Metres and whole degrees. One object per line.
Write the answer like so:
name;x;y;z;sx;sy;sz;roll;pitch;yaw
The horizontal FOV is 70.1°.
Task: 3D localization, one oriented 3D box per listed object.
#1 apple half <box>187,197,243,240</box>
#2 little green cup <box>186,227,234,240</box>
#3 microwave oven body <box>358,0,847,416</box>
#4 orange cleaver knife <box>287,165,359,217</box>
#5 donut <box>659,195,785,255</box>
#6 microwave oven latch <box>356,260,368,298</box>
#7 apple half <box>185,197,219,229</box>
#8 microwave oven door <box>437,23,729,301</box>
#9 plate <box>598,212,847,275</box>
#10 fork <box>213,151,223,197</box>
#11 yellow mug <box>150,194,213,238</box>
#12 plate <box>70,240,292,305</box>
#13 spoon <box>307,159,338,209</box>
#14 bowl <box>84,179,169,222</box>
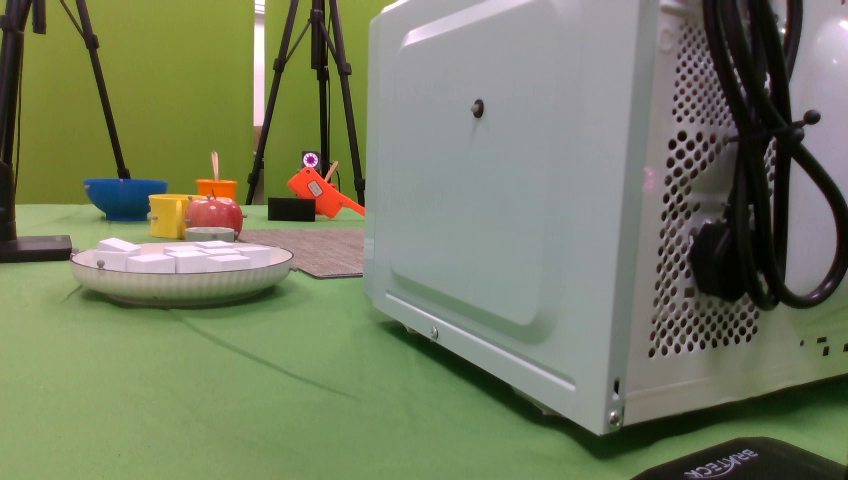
apple half;-0.305;-0.026;0.907;0.053;0.074;0.081;12;8;31
little green cup;-0.285;0.005;0.805;0.061;0.038;0.061;3;8;0
microwave oven body;0.211;-0.047;0.475;0.444;0.260;0.324;-1;8;-28
orange cleaver knife;-0.211;-0.092;1.382;0.212;0.077;0.012;34;1;-15
donut;0.252;-0.012;0.517;0.099;0.048;0.099;3;8;0
microwave oven latch;-0.020;0.033;0.530;0.079;0.029;0.030;0;7;-26
apple half;-0.338;-0.031;0.927;0.032;0.081;0.081;12;12;31
microwave oven door;0.181;-0.072;0.621;0.358;0.243;0.039;-2;8;-29
plate;0.255;0.000;0.518;0.209;0.038;0.209;2;6;0
fork;-0.493;-0.143;1.442;0.028;0.018;0.206;-3;52;-18
yellow mug;-0.401;-0.040;1.003;0.100;0.064;0.130;-1;9;-20
plate;-0.242;0.031;0.618;0.208;0.039;0.207;2;8;0
spoon;-0.257;-0.147;1.567;0.041;0.022;0.193;1;51;20
bowl;-0.584;-0.078;1.194;0.151;0.077;0.151;3;8;0
